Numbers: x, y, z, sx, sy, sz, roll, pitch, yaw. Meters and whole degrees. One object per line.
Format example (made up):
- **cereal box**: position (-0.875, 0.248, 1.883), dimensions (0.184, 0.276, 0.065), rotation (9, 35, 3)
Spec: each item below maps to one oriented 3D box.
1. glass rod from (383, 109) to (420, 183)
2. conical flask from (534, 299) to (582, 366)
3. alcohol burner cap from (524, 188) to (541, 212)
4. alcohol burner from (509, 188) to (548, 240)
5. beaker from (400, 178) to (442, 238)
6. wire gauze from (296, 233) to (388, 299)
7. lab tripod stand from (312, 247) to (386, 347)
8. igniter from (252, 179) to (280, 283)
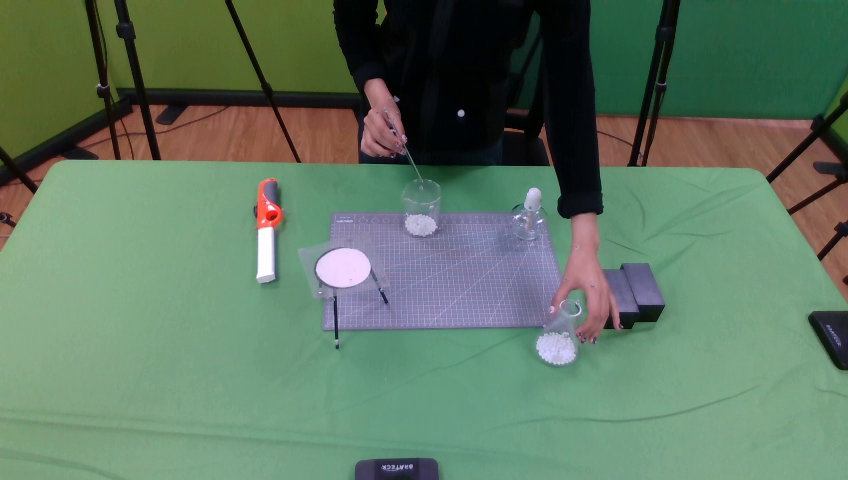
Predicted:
- **glass rod**: position (-0.040, -0.173, 1.140), dimensions (0.008, 0.201, 0.008), rotation (-10, 52, 14)
- **conical flask**: position (0.229, 0.149, 1.005), dimensions (0.075, 0.122, 0.075), rotation (2, 46, -2)
- **alcohol burner cap**: position (0.212, -0.081, 1.177), dimensions (0.034, 0.048, 0.033), rotation (-2, 54, 3)
- **alcohol burner**: position (0.211, -0.057, 1.204), dimensions (0.078, 0.120, 0.077), rotation (1, 47, -1)
- **beaker**: position (-0.009, -0.059, 1.200), dimensions (0.084, 0.101, 0.073), rotation (-14, 48, -17)
- **wire gauze**: position (-0.133, 0.041, 0.977), dimensions (0.125, 0.011, 0.120), rotation (-12, 47, -16)
- **lab tripod stand**: position (-0.134, 0.085, 1.028), dimensions (0.148, 0.132, 0.147), rotation (2, 45, -1)
- **igniter**: position (-0.312, -0.027, 1.197), dimensions (0.057, 0.025, 0.274), rotation (-12, 47, -1)
